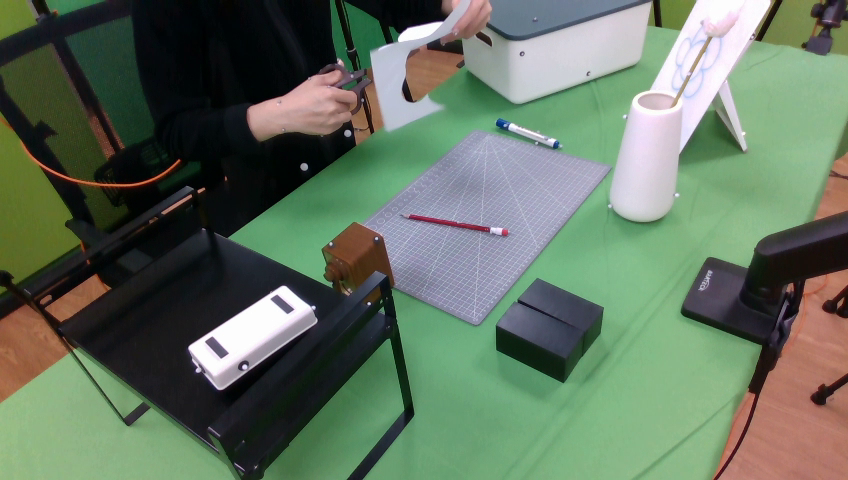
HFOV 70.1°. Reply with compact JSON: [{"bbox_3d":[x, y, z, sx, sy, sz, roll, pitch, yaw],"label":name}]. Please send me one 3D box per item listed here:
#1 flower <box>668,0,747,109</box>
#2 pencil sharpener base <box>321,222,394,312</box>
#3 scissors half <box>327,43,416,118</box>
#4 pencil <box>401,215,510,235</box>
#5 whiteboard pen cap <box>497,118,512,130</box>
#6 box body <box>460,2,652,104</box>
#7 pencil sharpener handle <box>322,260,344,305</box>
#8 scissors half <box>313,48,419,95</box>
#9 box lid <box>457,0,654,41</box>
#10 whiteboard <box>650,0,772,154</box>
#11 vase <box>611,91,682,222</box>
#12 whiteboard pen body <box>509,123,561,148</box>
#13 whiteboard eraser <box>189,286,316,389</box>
[{"bbox_3d":[0.354,-0.187,0.879,0.038,0.362,0.044,30,48,14],"label":"flower"},{"bbox_3d":[-0.096,0.041,0.873,0.061,0.107,0.077,25,54,32],"label":"pencil sharpener base"},{"bbox_3d":[-0.078,-0.239,0.910,0.174,0.040,0.013,-36,12,24],"label":"scissors half"},{"bbox_3d":[0.049,-0.027,1.006,0.193,0.012,0.012,10,43,21],"label":"pencil"},{"bbox_3d":[0.165,-0.235,1.227,0.033,0.018,0.018,31,53,31],"label":"whiteboard pen cap"},{"bbox_3d":[0.291,-0.465,1.371,0.365,0.161,0.252,-22,42,-16],"label":"box body"},{"bbox_3d":[-0.131,0.061,0.839,0.035,0.068,0.031,29,56,27],"label":"pencil sharpener handle"},{"bbox_3d":[-0.089,-0.257,0.904,0.174,0.040,0.013,-12,26,16],"label":"scissors half"},{"bbox_3d":[0.285,-0.522,1.323,0.373,0.015,0.261,-22,43,-16],"label":"box lid"},{"bbox_3d":[0.543,-0.298,1.076,0.144,0.305,0.216,12,40,-7],"label":"whiteboard"},{"bbox_3d":[0.348,-0.125,0.935,0.098,0.201,0.097,-3,40,3],"label":"vase"},{"bbox_3d":[0.209,-0.212,1.195,0.139,0.017,0.017,30,52,33],"label":"whiteboard pen body"},{"bbox_3d":[-0.166,0.096,0.593,0.113,0.042,0.055,-36,47,-29],"label":"whiteboard eraser"}]
